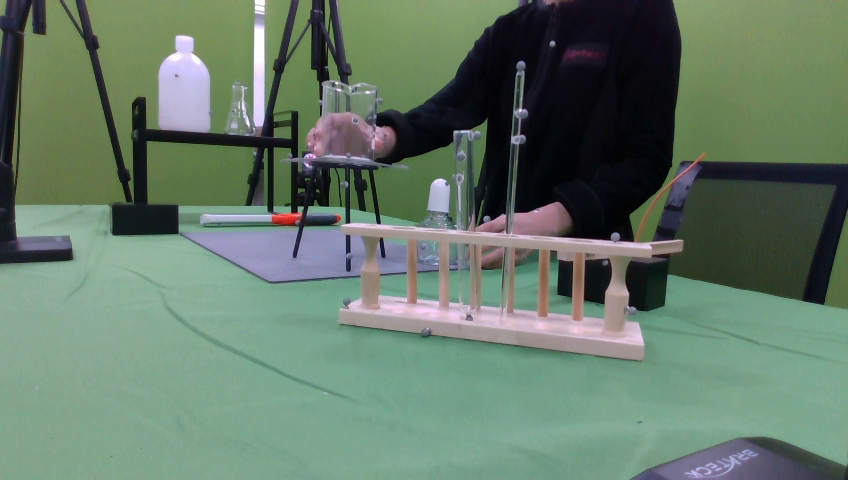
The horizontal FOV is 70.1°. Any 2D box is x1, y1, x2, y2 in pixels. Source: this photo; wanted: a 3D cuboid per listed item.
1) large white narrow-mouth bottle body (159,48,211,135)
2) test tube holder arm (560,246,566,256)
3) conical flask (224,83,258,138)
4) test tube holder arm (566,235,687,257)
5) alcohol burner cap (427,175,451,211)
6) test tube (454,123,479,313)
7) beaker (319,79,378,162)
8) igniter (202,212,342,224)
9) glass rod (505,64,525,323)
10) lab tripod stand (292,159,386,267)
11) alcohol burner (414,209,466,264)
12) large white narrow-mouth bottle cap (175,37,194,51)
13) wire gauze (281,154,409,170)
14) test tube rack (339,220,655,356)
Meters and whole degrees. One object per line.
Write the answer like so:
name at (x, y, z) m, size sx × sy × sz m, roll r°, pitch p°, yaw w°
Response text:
large white narrow-mouth bottle body at (-0.503, -0.322, 1.275) m, size 0.102 × 0.194 × 0.102 m, roll 2°, pitch 7°, yaw 0°
test tube holder arm at (0.173, 0.007, 0.611) m, size 0.088 × 0.015 × 0.010 m, roll -3°, pitch 8°, yaw -30°
conical flask at (-0.422, -0.299, 1.395) m, size 0.075 × 0.122 × 0.075 m, roll 2°, pitch 7°, yaw 0°
test tube holder arm at (0.215, 0.006, 0.630) m, size 0.179 × 0.015 × 0.013 m, roll -3°, pitch 9°, yaw -31°
alcohol burner cap at (0.023, -0.064, 0.822) m, size 0.034 × 0.048 × 0.034 m, roll 8°, pitch 4°, yaw 0°
test tube at (0.034, -0.016, 0.477) m, size 0.017 × 0.150 × 0.017 m, roll -2°, pitch 9°, yaw 1°
beaker at (-0.098, -0.151, 0.777) m, size 0.074 × 0.100 × 0.084 m, roll 2°, pitch 6°, yaw -8°
igniter at (-0.298, -0.044, 1.216) m, size 0.278 × 0.025 × 0.057 m, roll -2°, pitch -2°, yaw -32°
glass rod at (0.069, -0.029, 0.458) m, size 0.008 × 0.199 × 0.008 m, roll 0°, pitch 15°, yaw 0°
lab tripod stand at (-0.105, -0.039, 0.797) m, size 0.148 × 0.131 × 0.148 m, roll 2°, pitch 5°, yaw 0°
alcohol burner at (0.021, -0.028, 0.825) m, size 0.078 × 0.119 × 0.078 m, roll 0°, pitch 6°, yaw 0°
large white narrow-mouth bottle cap at (-0.501, -0.409, 1.264) m, size 0.038 × 0.024 × 0.037 m, roll 2°, pitch 7°, yaw 0°
wire gauze at (-0.104, -0.103, 0.784) m, size 0.126 × 0.011 × 0.121 m, roll 0°, pitch 7°, yaw -39°
test tube rack at (0.056, 0.032, 0.495) m, size 0.242 × 0.085 × 0.067 m, roll 4°, pitch 7°, yaw 15°
